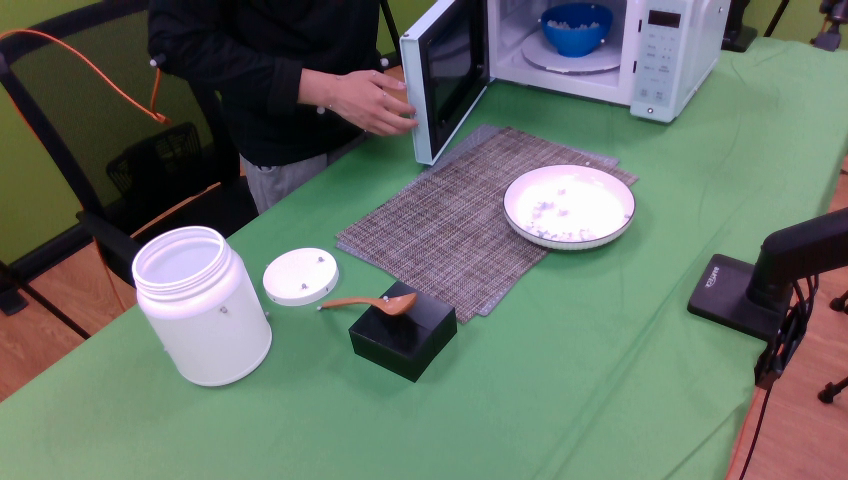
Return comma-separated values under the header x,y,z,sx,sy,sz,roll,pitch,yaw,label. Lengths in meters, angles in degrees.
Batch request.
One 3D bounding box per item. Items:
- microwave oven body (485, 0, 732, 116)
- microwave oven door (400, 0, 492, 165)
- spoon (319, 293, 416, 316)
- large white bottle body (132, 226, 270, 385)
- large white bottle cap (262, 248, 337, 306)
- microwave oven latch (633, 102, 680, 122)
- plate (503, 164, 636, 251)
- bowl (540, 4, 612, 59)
x,y,z,sx,sy,sz,roll,pitch,yaw,label
0.377,-0.462,1.267,0.438,0.261,0.327,21,48,30,microwave oven body
0.054,-0.343,1.167,0.039,0.245,0.356,11,44,21,microwave oven door
-0.082,0.086,0.826,0.192,0.022,0.041,-3,36,41,spoon
-0.286,0.085,0.783,0.130,0.185,0.130,-4,41,4,large white bottle body
-0.193,0.056,0.934,0.115,0.018,0.114,-4,41,4,large white bottle cap
0.444,-0.249,1.157,0.078,0.029,0.030,22,49,31,microwave oven latch
0.232,-0.051,0.976,0.209,0.038,0.208,-3,41,3,plate
0.323,-0.440,1.297,0.151,0.077,0.150,-4,41,4,bowl
